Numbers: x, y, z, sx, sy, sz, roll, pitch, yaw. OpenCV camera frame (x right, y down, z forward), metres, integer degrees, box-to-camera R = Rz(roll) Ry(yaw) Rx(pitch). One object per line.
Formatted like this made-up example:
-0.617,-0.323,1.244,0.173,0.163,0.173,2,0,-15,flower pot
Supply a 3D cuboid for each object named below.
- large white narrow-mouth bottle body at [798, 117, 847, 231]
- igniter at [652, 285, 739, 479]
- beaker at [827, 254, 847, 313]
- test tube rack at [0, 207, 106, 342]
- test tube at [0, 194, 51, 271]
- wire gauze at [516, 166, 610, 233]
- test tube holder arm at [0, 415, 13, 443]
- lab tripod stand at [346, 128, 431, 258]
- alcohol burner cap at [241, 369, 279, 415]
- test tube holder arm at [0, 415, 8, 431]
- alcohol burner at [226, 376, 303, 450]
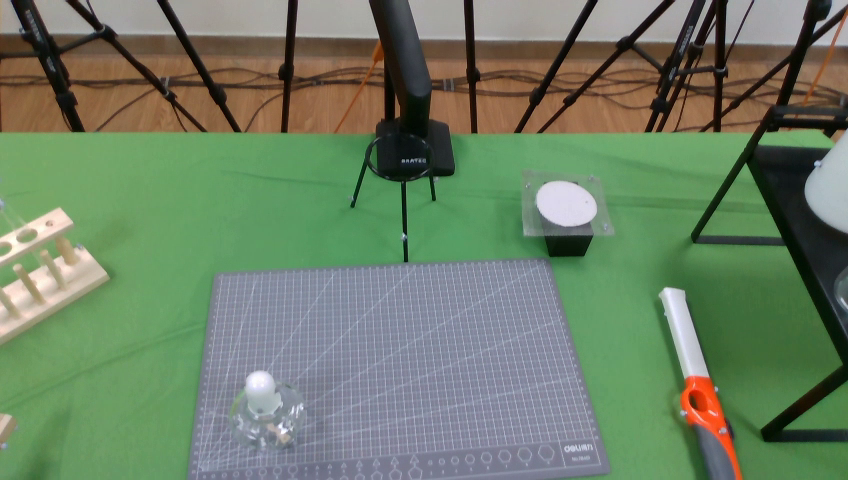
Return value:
0.484,-0.103,0.623,0.102,0.196,0.101,3,52,-3,large white narrow-mouth bottle body
0.322,0.172,0.728,0.057,0.025,0.274,9,50,-11,igniter
0.444,0.026,0.578,0.084,0.101,0.073,15,52,7,beaker
-0.508,0.069,0.693,0.066,0.086,0.242,38,58,23,test tube rack
-0.470,-0.013,0.698,0.017,0.151,0.017,1,50,-1,test tube
0.190,-0.056,0.846,0.121,0.011,0.124,4,51,-2,wire gauze
-0.428,0.243,0.545,0.013,0.015,0.177,3,50,9,test tube holder arm
-0.039,-0.070,0.818,0.148,0.132,0.147,4,52,-4,lab tripod stand
-0.163,0.147,0.596,0.034,0.048,0.033,1,46,-1,alcohol burner cap
-0.427,0.209,0.574,0.010,0.015,0.087,3,50,9,test tube holder arm
-0.166,0.169,0.625,0.078,0.120,0.077,4,50,-4,alcohol burner
